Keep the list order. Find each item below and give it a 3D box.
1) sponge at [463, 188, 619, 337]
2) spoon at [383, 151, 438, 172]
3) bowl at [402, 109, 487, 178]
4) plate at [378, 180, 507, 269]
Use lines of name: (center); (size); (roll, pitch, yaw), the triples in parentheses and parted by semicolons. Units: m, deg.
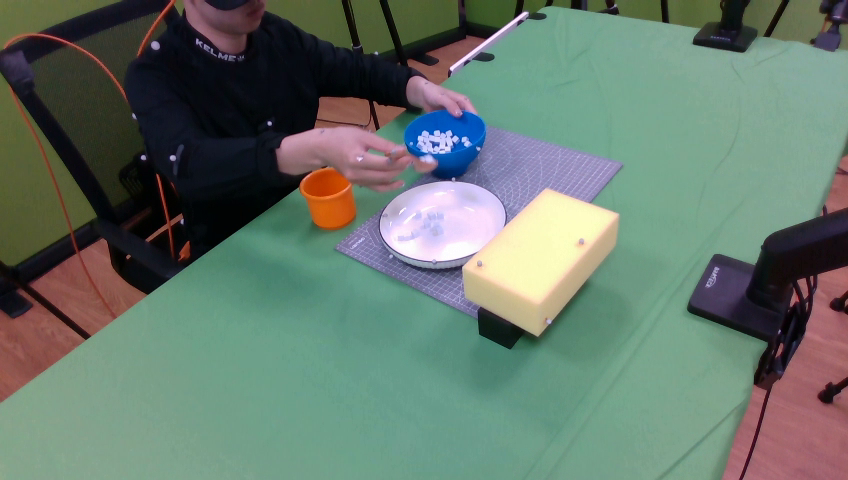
sponge: (0.160, 0.022, 0.814); (0.117, 0.061, 0.207); (25, 50, 32)
spoon: (-0.022, -0.119, 0.898); (0.041, 0.021, 0.195); (-6, -3, 19)
bowl: (0.041, -0.166, 1.100); (0.151, 0.077, 0.150); (-5, 41, 5)
plate: (0.031, -0.022, 0.974); (0.209, 0.038, 0.208); (-4, 40, 4)
